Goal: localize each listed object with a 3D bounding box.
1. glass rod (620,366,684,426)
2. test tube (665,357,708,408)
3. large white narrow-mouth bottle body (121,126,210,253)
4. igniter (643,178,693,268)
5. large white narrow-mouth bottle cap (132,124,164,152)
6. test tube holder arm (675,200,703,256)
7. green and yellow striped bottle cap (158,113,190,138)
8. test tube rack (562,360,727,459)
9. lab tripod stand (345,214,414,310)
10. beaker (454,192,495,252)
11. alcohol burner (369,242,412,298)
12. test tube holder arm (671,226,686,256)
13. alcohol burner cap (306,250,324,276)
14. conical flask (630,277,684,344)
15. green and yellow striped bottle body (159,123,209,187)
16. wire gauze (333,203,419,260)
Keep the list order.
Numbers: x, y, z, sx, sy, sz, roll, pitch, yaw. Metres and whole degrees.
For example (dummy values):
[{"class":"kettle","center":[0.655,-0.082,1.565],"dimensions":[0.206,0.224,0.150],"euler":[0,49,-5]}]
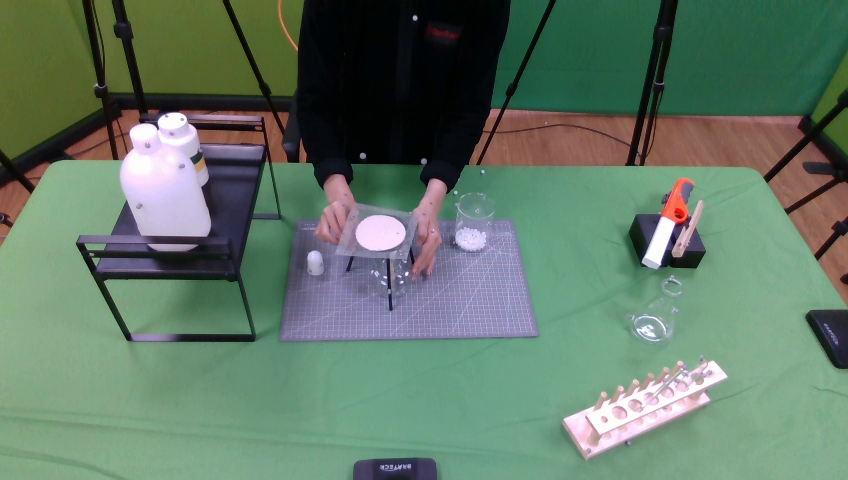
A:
[{"class":"glass rod","center":[0.322,0.227,0.866],"dimensions":[0.008,0.200,0.008],"euler":[5,51,-7]},{"class":"test tube","center":[0.387,0.216,0.905],"dimensions":[0.017,0.151,0.017],"euler":[1,52,-1]},{"class":"large white narrow-mouth bottle body","center":[-0.378,-0.077,0.875],"dimensions":[0.102,0.195,0.101],"euler":[3,46,-3]},{"class":"igniter","center":[0.488,-0.042,1.205],"dimensions":[0.057,0.025,0.276],"euler":[30,51,11]},{"class":"large white narrow-mouth bottle cap","center":[-0.371,-0.137,0.813],"dimensions":[0.038,0.024,0.037],"euler":[3,46,-3]},{"class":"test tube holder arm","center":[0.523,-0.025,1.190],"dimensions":[0.013,0.015,0.178],"euler":[1,36,42]},{"class":"green and yellow striped bottle cap","center":[-0.393,-0.180,0.951],"dimensions":[0.045,0.020,0.045],"euler":[2,44,-2]},{"class":"test tube rack","center":[0.341,0.247,0.940],"dimensions":[0.243,0.085,0.066],"euler":[-16,49,-19]},{"class":"lab tripod stand","center":[-0.076,0.029,1.082],"dimensions":[0.148,0.132,0.147],"euler":[1,48,-1]},{"class":"beaker","center":[0.097,-0.034,1.180],"dimensions":[0.074,0.101,0.084],"euler":[23,48,17]},{"class":"alcohol burner","center":[-0.059,0.048,1.080],"dimensions":[0.078,0.120,0.077],"euler":[1,47,-1]},{"class":"test tube holder arm","center":[0.494,0.001,1.166],"dimensions":[0.010,0.015,0.087],"euler":[1,36,42]},{"class":"alcohol burner cap","center":[-0.204,0.040,1.125],"dimensions":[0.034,0.048,0.033],"euler":[2,46,-2]},{"class":"conical flask","center":[0.408,0.117,1.045],"dimensions":[0.075,0.122,0.075],"euler":[2,46,-2]},{"class":"green and yellow striped bottle body","center":[-0.395,-0.145,0.989],"dimensions":[0.063,0.120,0.063],"euler":[2,46,-2]},{"class":"wire gauze","center":[-0.079,-0.014,1.030],"dimensions":[0.121,0.011,0.124],"euler":[8,46,6]}]
